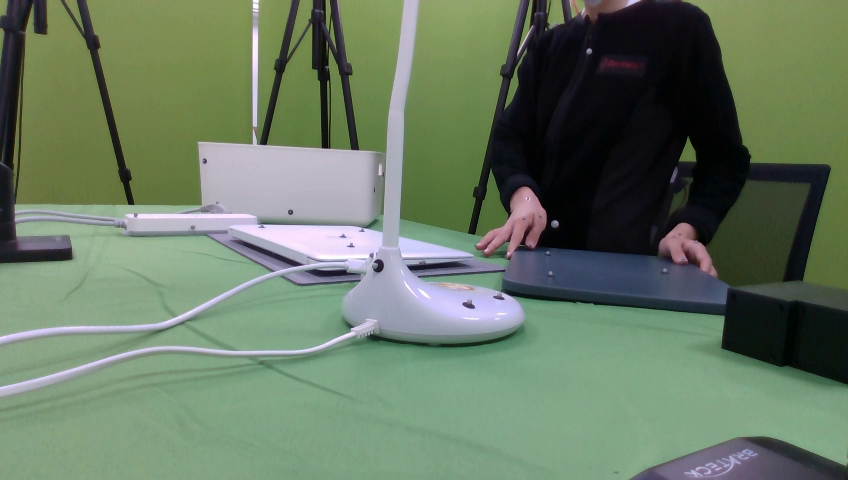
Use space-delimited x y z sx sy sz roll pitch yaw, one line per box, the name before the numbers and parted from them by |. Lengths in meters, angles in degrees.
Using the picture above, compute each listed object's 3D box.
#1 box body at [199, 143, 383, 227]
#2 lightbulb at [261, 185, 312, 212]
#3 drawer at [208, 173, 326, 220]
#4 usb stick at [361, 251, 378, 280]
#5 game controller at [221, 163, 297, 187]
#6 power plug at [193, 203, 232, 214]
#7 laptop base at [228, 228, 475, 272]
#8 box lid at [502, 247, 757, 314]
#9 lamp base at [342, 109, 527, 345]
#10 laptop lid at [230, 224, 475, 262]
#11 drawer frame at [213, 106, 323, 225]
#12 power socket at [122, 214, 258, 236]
box body | -0.276 -0.124 1.334 0.364 0.160 0.254 3 7 1
lightbulb | -0.294 -0.084 1.292 0.108 0.059 0.059 -13 13 -20
drawer | -0.335 -0.102 1.326 0.212 0.073 0.194 8 9 -1
usb stick | -0.051 0.033 0.656 0.027 0.021 0.059 4 -27 -21
game controller | -0.362 -0.141 1.315 0.156 0.051 0.096 -1 5 -23
power plug | -0.394 -0.042 1.139 0.072 0.052 0.035 -13 2 31
laptop base | -0.122 0.011 0.889 0.237 0.023 0.352 1 6 -35
box lid | 0.244 0.044 0.793 0.263 0.015 0.372 4 6 11
lamp base | 0.006 -0.015 0.505 0.160 0.180 0.180 6 11 29
laptop lid | -0.119 0.000 0.889 0.243 0.013 0.355 1 7 -33
drawer frame | -0.316 -0.142 1.308 0.082 0.213 0.202 22 -17 31
power socket | -0.398 -0.028 1.049 0.228 0.032 0.072 -3 8 -34
